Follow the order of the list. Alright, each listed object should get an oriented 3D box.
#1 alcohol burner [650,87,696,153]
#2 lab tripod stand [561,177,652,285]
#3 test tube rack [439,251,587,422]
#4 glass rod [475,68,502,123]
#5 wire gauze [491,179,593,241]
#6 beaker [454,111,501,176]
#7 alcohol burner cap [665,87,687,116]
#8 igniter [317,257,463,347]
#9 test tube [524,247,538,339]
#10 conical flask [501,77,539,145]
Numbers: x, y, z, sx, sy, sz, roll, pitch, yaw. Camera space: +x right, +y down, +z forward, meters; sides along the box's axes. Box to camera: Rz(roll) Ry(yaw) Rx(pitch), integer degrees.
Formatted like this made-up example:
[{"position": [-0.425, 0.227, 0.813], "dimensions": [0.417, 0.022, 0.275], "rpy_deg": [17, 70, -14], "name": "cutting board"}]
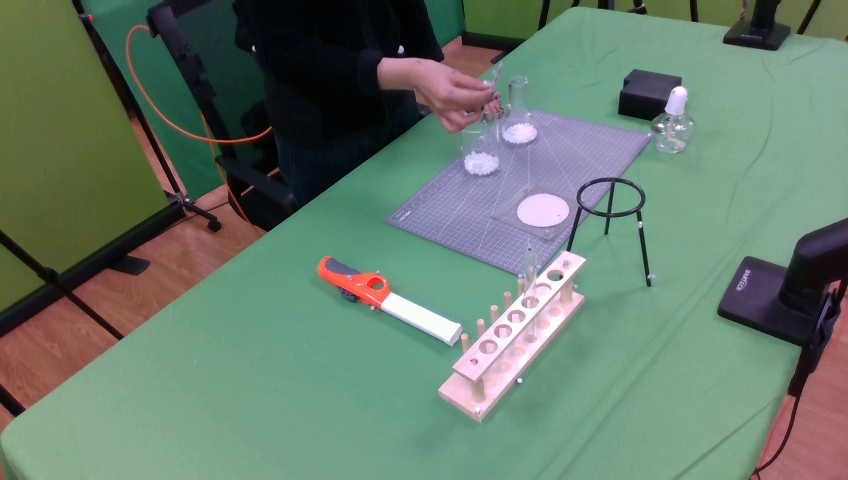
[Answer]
[{"position": [0.448, -0.217, 1.084], "dimensions": [0.078, 0.119, 0.077], "rpy_deg": [-6, 38, 5], "name": "alcohol burner"}, {"position": [0.263, -0.014, 0.864], "dimensions": [0.148, 0.132, 0.147], "rpy_deg": [-7, 38, 6], "name": "lab tripod stand"}, {"position": [0.118, 0.111, 0.780], "dimensions": [0.066, 0.085, 0.243], "rpy_deg": [26, 51, 34], "name": "test tube rack"}, {"position": [0.105, -0.237, 1.009], "dimensions": [0.008, 0.199, 0.008], "rpy_deg": [1, 78, -5], "name": "glass rod"}, {"position": [0.198, -0.051, 1.014], "dimensions": [0.125, 0.011, 0.120], "rpy_deg": [-38, 48, -27], "name": "wire gauze"}, {"position": [0.101, -0.173, 1.106], "dimensions": [0.084, 0.101, 0.073], "rpy_deg": [-5, 40, 6], "name": "beaker"}, {"position": [0.445, -0.244, 1.060], "dimensions": [0.034, 0.048, 0.033], "rpy_deg": [-2, 45, 3], "name": "alcohol burner cap"}, {"position": [-0.061, 0.086, 0.891], "dimensions": [0.274, 0.025, 0.057], "rpy_deg": [23, 59, 33], "name": "igniter"}, {"position": [0.133, 0.070, 0.749], "dimensions": [0.017, 0.151, 0.017], "rpy_deg": [-5, 38, 4], "name": "test tube"}, {"position": [0.183, -0.250, 1.163], "dimensions": [0.075, 0.122, 0.075], "rpy_deg": [-6, 40, 5], "name": "conical flask"}]
